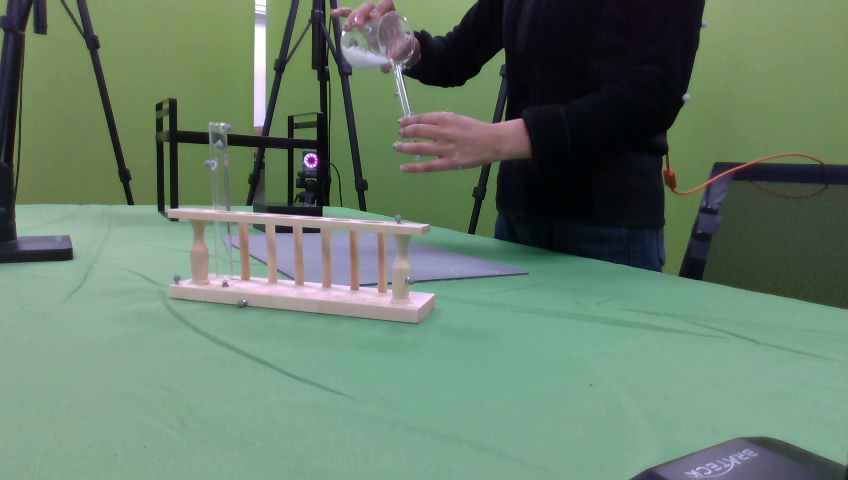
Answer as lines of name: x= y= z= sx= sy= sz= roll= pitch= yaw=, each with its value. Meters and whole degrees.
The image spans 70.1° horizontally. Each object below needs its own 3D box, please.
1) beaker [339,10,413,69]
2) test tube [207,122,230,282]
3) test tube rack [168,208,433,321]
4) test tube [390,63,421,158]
beaker: x=-0.077 y=-0.303 z=0.936 sx=0.074 sy=0.084 sz=0.100 roll=-10 pitch=12 yaw=-44
test tube: x=-0.192 y=-0.034 z=0.564 sx=0.017 sy=0.150 sz=0.017 roll=2 pitch=11 yaw=0
test tube rack: x=-0.116 y=0.018 z=0.574 sx=0.242 sy=0.085 sz=0.067 roll=4 pitch=8 yaw=14
test tube: x=-0.027 y=-0.192 z=0.896 sx=0.017 sy=0.150 sz=0.017 roll=-13 pitch=-10 yaw=-2
